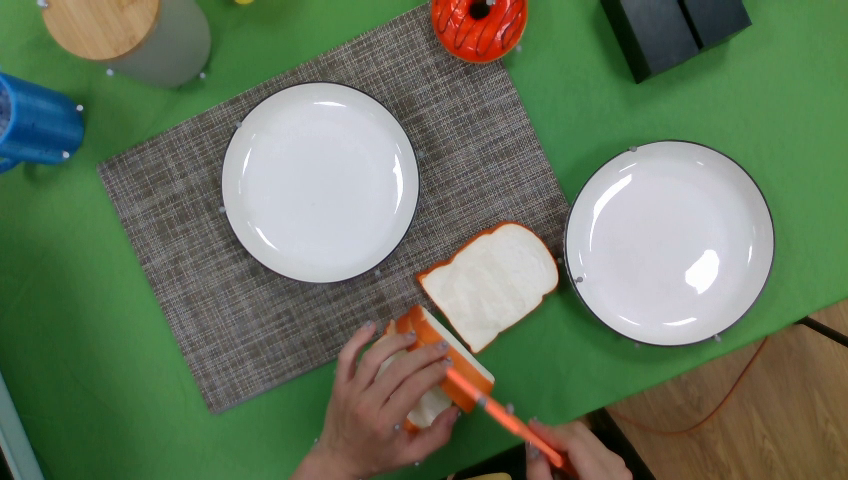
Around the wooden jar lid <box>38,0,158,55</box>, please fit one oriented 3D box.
[{"bbox_3d":[-0.285,-0.216,0.535,0.108,0.021,0.108,0,91,4],"label":"wooden jar lid"}]

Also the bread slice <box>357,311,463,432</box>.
[{"bbox_3d":[-0.016,0.130,0.598,0.105,0.131,0.019,43,111,1],"label":"bread slice"}]

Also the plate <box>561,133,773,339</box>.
[{"bbox_3d":[0.244,-0.004,0.624,0.209,0.038,0.209,0,93,3],"label":"plate"}]

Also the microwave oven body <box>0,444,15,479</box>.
[{"bbox_3d":[-0.613,0.223,0.564,0.326,0.260,0.441,-22,92,3],"label":"microwave oven body"}]

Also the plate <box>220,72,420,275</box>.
[{"bbox_3d":[-0.107,-0.068,0.636,0.207,0.039,0.207,0,93,3],"label":"plate"}]

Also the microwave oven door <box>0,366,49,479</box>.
[{"bbox_3d":[-0.462,0.209,0.550,0.039,0.244,0.355,-22,91,4],"label":"microwave oven door"}]

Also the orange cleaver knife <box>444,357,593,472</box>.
[{"bbox_3d":[0.084,0.148,0.502,0.012,0.214,0.076,-52,45,-6],"label":"orange cleaver knife"}]

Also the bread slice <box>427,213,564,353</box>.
[{"bbox_3d":[0.082,0.032,0.592,0.134,0.018,0.107,-33,86,-35],"label":"bread slice"}]

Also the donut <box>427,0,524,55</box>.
[{"bbox_3d":[0.052,-0.238,0.616,0.099,0.048,0.099,0,93,2],"label":"donut"}]

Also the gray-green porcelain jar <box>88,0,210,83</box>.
[{"bbox_3d":[-0.281,-0.217,0.597,0.106,0.126,0.106,0,92,3],"label":"gray-green porcelain jar"}]

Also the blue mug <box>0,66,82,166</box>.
[{"bbox_3d":[-0.431,-0.117,0.620,0.082,0.106,0.116,39,94,1],"label":"blue mug"}]
